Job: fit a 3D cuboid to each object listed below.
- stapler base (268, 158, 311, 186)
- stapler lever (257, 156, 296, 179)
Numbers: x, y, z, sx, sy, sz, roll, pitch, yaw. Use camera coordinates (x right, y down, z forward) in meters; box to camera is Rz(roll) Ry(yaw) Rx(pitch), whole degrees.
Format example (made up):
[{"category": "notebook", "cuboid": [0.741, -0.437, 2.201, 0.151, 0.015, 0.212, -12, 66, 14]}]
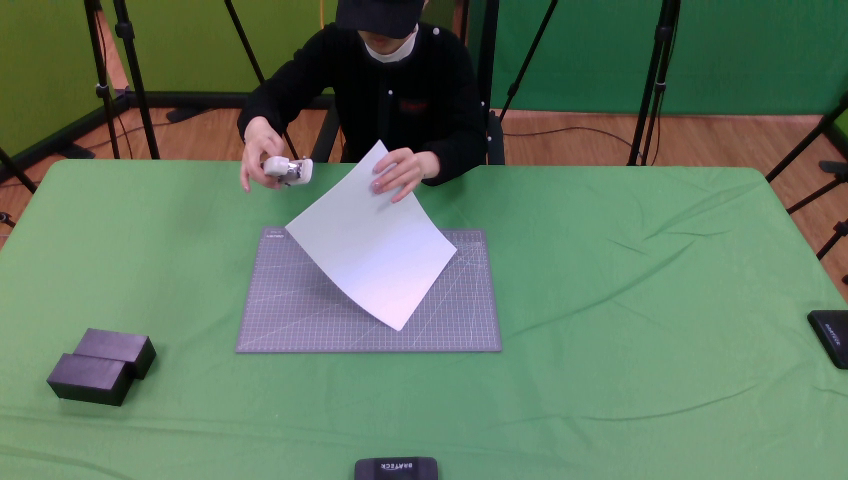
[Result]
[{"category": "stapler base", "cuboid": [-0.230, -0.114, 1.003, 0.024, 0.041, 0.130, 13, -7, -39]}, {"category": "stapler lever", "cuboid": [-0.250, -0.117, 0.988, 0.040, 0.027, 0.117, 13, -7, -39]}]
